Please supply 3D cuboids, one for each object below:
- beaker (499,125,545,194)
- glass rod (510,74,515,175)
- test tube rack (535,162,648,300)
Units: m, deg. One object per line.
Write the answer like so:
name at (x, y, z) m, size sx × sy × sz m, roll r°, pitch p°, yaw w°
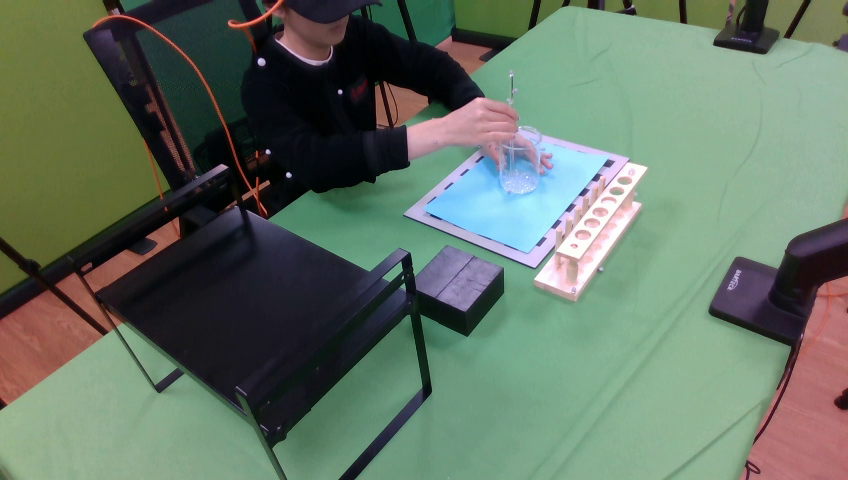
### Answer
beaker at (0.168, -0.138, 1.046) m, size 0.074 × 0.101 × 0.083 m, roll -8°, pitch 40°, yaw -1°
glass rod at (0.150, -0.189, 1.016) m, size 0.008 × 0.200 × 0.008 m, roll -4°, pitch 44°, yaw 5°
test tube rack at (0.257, -0.024, 0.916) m, size 0.066 × 0.085 × 0.243 m, roll 22°, pitch 49°, yaw 30°
